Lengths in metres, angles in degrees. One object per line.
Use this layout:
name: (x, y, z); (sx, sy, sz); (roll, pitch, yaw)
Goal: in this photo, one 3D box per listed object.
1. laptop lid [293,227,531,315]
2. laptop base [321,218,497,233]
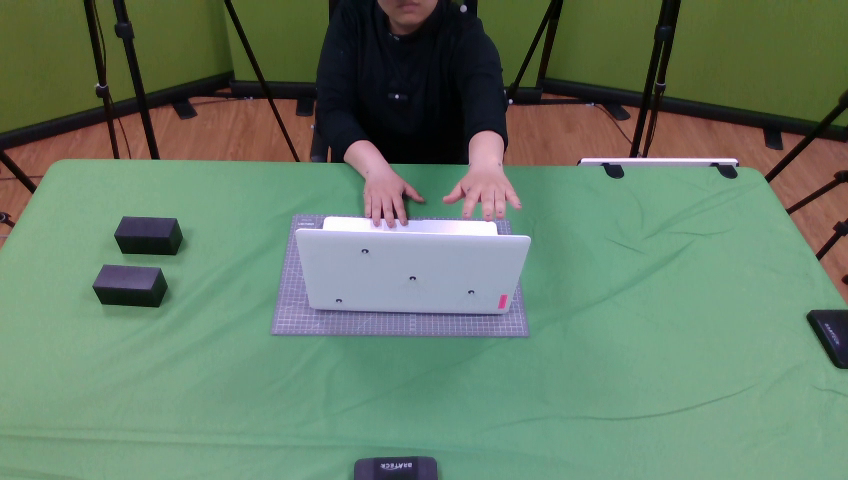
laptop lid: (-0.021, 0.057, 0.976); (0.357, 0.243, 0.013); (2, 53, -4)
laptop base: (-0.028, 0.045, 1.154); (0.354, 0.023, 0.234); (2, 42, -3)
